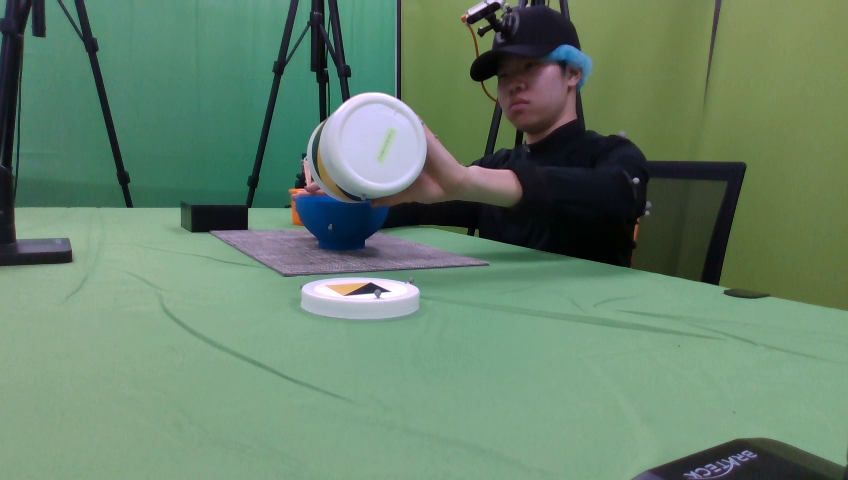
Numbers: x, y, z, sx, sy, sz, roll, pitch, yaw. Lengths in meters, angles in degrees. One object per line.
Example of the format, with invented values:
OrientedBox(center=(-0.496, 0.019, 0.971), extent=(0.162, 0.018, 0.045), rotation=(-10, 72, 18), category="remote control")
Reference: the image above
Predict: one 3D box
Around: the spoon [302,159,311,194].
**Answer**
OrientedBox(center=(-0.257, -0.113, 1.341), extent=(0.042, 0.193, 0.021), rotation=(4, -38, -19), category="spoon")

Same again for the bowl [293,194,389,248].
OrientedBox(center=(-0.132, -0.030, 0.962), extent=(0.151, 0.077, 0.151), rotation=(2, 7, 0), category="bowl")

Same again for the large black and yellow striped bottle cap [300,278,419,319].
OrientedBox(center=(-0.062, 0.055, 0.588), extent=(0.115, 0.019, 0.115), rotation=(1, 6, 0), category="large black and yellow striped bottle cap")

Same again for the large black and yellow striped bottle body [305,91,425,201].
OrientedBox(center=(-0.089, -0.121, 0.833), extent=(0.131, 0.130, 0.183), rotation=(-1, 0, -22), category="large black and yellow striped bottle body")
